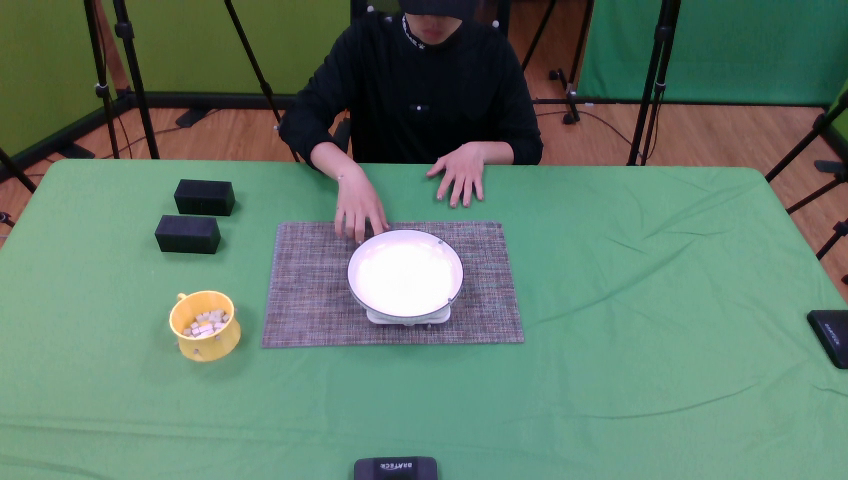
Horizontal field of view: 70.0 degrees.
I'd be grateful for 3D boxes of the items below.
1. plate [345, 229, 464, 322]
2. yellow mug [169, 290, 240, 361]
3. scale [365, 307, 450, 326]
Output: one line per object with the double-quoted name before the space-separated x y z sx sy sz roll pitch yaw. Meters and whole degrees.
"plate" -0.034 0.065 1.073 0.209 0.038 0.208 2 46 -2
"yellow mug" -0.373 0.132 1.009 0.130 0.064 0.100 35 53 27
"scale" -0.032 0.071 1.113 0.149 0.032 0.199 0 46 -4
